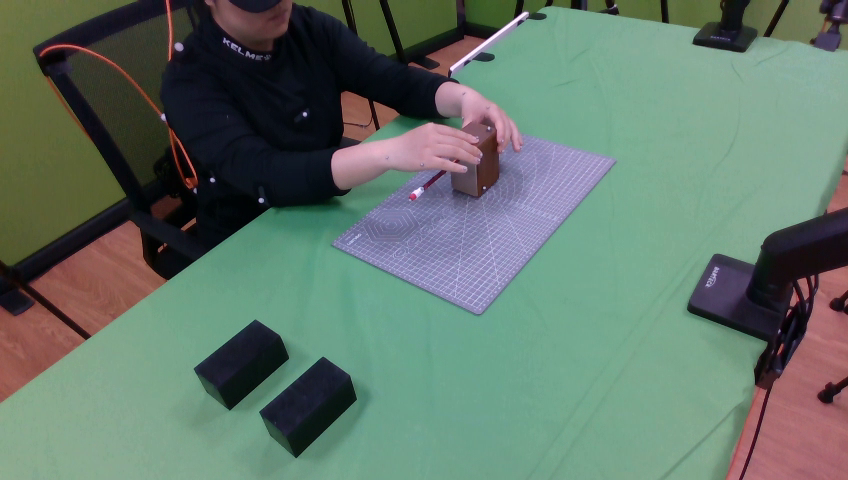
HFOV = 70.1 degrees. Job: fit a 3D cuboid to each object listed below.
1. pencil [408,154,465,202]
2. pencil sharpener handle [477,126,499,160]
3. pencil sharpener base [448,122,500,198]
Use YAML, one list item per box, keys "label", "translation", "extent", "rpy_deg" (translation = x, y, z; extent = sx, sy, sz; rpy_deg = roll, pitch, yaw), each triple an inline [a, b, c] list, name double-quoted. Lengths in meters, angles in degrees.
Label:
- label: "pencil"
  translation: [0.037, -0.116, 0.988]
  extent: [0.012, 0.012, 0.194]
  rpy_deg: [22, 48, 31]
- label: "pencil sharpener handle"
  translation: [0.119, -0.177, 1.073]
  extent: [0.035, 0.068, 0.031]
  rpy_deg: [19, 46, 33]
- label: "pencil sharpener base"
  translation: [0.089, -0.140, 1.052]
  extent: [0.061, 0.107, 0.077]
  rpy_deg: [22, 47, 30]
